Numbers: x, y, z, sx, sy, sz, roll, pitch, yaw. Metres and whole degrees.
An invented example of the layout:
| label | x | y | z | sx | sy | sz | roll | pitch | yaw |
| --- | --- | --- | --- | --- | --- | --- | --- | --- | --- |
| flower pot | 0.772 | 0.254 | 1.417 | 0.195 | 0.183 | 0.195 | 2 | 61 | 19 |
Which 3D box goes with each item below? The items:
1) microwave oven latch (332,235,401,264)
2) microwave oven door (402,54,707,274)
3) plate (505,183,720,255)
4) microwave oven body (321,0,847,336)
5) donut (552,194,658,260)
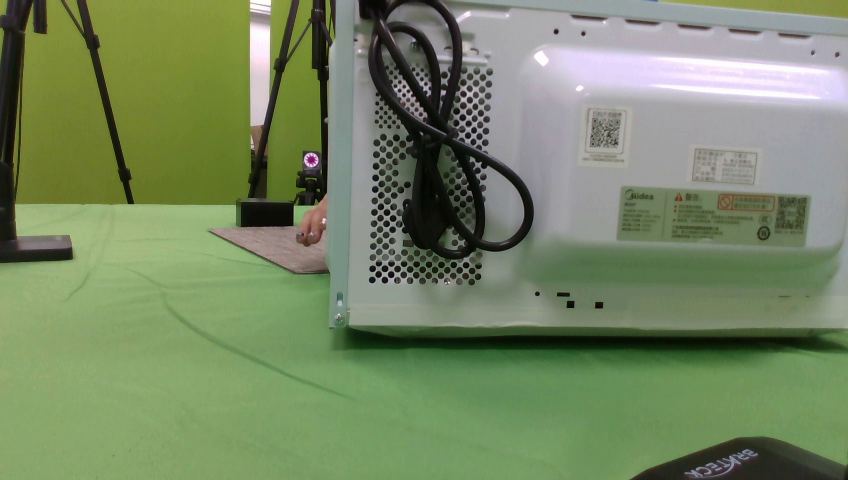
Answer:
| label | x | y | z | sx | sy | sz | roll | pitch | yaw |
| --- | --- | --- | --- | --- | --- | --- | --- | --- | --- |
| microwave oven latch | -0.066 | 0.010 | 0.700 | 0.079 | 0.029 | 0.030 | 2 | 7 | -8 |
| microwave oven door | 0.156 | -0.085 | 0.717 | 0.357 | 0.243 | 0.039 | 1 | 8 | -8 |
| plate | 0.184 | -0.023 | 0.616 | 0.209 | 0.038 | 0.209 | 4 | 14 | -1 |
| microwave oven body | 0.133 | -0.062 | 0.567 | 0.443 | 0.260 | 0.325 | 2 | 7 | -8 |
| donut | 0.171 | -0.016 | 0.575 | 0.099 | 0.048 | 0.099 | -10 | 15 | 3 |
